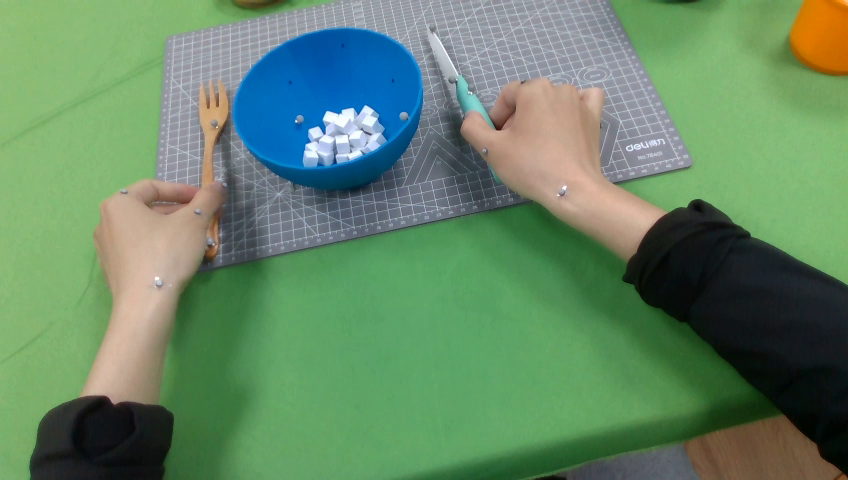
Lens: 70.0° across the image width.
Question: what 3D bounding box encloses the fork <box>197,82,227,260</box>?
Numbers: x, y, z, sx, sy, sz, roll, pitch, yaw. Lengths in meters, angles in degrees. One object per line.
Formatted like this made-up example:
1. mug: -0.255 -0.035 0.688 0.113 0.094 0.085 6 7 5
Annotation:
1. fork: -0.187 -0.068 0.531 0.028 0.019 0.205 -7 53 -9

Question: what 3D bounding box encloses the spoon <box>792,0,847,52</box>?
1. spoon: 0.392 -0.211 0.475 0.022 0.193 0.041 17 56 -35

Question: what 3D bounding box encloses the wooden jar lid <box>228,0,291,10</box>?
1. wooden jar lid: -0.177 -0.293 0.672 0.108 0.021 0.107 -2 59 4

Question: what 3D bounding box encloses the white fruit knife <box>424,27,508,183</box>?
1. white fruit knife: 0.031 -0.131 0.535 0.016 0.027 0.205 -9 52 -17

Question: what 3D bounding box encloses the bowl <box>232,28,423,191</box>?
1. bowl: -0.071 -0.093 0.501 0.151 0.077 0.150 -3 59 6
